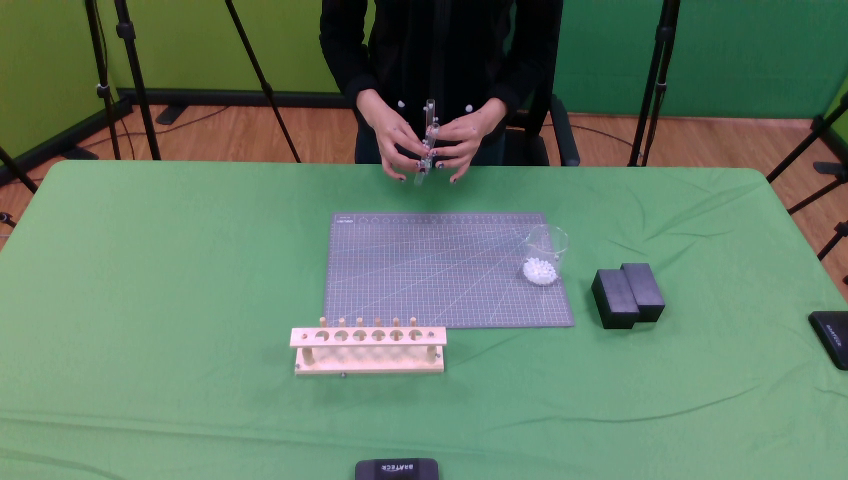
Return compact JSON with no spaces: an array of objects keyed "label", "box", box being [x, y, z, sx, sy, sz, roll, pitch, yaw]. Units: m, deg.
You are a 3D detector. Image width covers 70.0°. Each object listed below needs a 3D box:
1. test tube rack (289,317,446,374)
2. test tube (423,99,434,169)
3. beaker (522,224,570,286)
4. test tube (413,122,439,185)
[{"label":"test tube rack","box":[-0.089,0.167,0.988,0.242,0.085,0.066,0,46,-4]},{"label":"test tube","box":[0.009,-0.192,1.113,0.017,0.151,0.017,1,46,-1]},{"label":"beaker","box":[0.221,0.032,1.129,0.084,0.101,0.073,-6,46,-9]},{"label":"test tube","box":[0.002,-0.155,1.111,0.017,0.151,0.017,9,49,-10]}]
